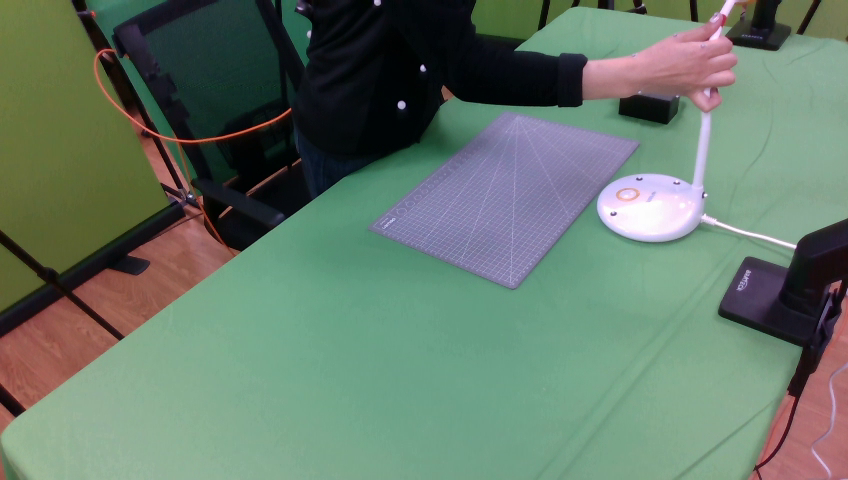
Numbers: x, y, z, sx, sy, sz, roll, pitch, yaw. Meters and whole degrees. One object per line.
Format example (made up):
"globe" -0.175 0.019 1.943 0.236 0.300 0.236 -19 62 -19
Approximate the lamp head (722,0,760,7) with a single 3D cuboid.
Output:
"lamp head" 0.432 -0.378 0.818 0.112 0.124 0.112 -16 43 16

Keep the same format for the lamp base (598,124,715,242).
"lamp base" 0.363 -0.108 0.916 0.178 0.181 0.160 14 48 21
